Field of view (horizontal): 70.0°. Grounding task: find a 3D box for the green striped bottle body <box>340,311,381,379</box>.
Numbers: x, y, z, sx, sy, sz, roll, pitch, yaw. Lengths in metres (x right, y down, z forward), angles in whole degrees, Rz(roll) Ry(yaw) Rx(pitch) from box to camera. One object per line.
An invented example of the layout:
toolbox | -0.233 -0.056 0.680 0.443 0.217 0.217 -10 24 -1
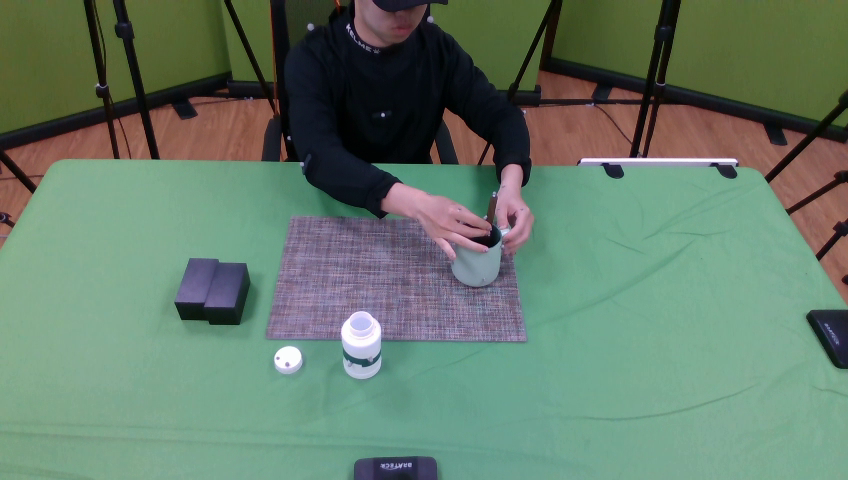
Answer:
green striped bottle body | -0.101 0.164 0.964 0.063 0.120 0.063 2 46 -2

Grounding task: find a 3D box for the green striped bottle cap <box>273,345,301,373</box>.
green striped bottle cap | -0.225 0.195 0.997 0.044 0.020 0.044 2 50 -3

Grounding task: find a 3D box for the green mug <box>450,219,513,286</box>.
green mug | 0.111 0.018 1.125 0.125 0.105 0.092 -22 52 -23

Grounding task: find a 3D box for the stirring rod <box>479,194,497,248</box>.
stirring rod | 0.111 -0.013 1.091 0.014 0.177 0.006 -4 44 -11
